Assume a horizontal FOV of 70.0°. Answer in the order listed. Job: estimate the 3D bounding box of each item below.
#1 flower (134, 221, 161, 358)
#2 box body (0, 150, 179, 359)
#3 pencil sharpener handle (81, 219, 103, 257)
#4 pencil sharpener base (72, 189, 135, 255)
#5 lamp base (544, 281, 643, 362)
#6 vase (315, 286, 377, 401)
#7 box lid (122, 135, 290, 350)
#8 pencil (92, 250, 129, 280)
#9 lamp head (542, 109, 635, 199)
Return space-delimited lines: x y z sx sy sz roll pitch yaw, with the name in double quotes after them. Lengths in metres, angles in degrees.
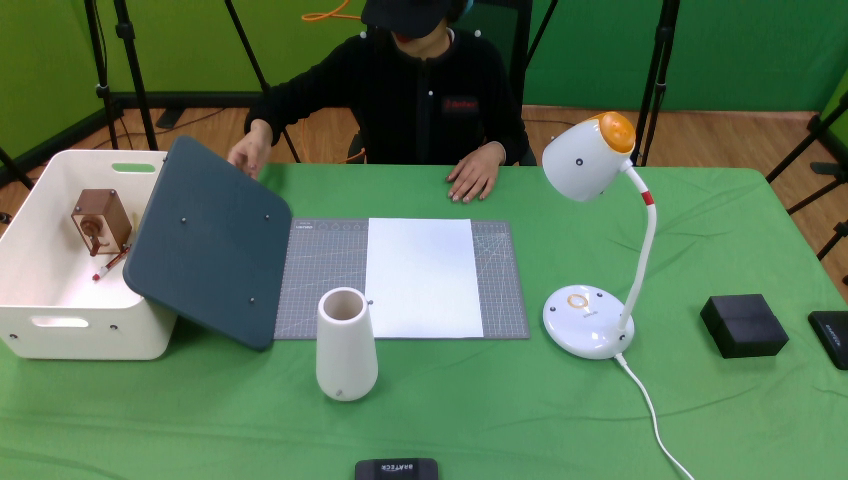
-0.508 0.072 1.093 0.044 0.038 0.359 -41 45 8 "flower"
-0.541 0.021 1.042 0.254 0.161 0.361 1 46 -3 "box body"
-0.588 -0.003 1.073 0.036 0.068 0.030 3 45 -9 "pencil sharpener handle"
-0.589 -0.031 1.117 0.061 0.107 0.076 -2 46 -3 "pencil sharpener base"
0.303 0.095 1.014 0.161 0.181 0.178 -24 54 -24 "lamp base"
-0.119 0.159 0.911 0.098 0.201 0.097 2 47 -2 "vase"
-0.355 -0.006 1.059 0.015 0.265 0.369 -33 39 27 "box lid"
-0.549 0.015 1.152 0.012 0.012 0.193 22 44 17 "pencil"
0.253 -0.131 0.893 0.113 0.123 0.112 10 66 -24 "lamp head"
